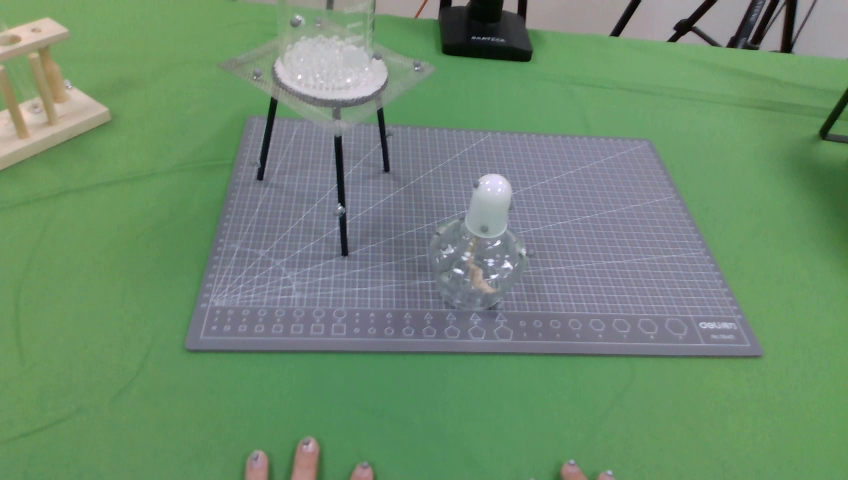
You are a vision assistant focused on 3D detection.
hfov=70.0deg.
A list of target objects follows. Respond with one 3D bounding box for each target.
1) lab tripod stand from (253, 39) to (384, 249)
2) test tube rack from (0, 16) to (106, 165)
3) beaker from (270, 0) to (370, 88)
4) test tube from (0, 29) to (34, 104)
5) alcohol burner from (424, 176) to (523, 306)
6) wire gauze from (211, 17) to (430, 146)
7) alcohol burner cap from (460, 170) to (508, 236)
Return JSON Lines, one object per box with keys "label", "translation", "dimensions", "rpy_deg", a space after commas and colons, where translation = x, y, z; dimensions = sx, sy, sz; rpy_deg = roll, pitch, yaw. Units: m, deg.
{"label": "lab tripod stand", "translation": [-0.082, -0.087, 0.515], "dimensions": [0.148, 0.132, 0.147], "rpy_deg": [6, 45, -6]}
{"label": "test tube rack", "translation": [-0.411, -0.104, 0.517], "dimensions": [0.066, 0.086, 0.242], "rpy_deg": [30, 48, 20]}
{"label": "beaker", "translation": [-0.076, -0.168, 0.434], "dimensions": [0.073, 0.101, 0.084], "rpy_deg": [32, 50, 20]}
{"label": "test tube", "translation": [-0.381, -0.184, 0.532], "dimensions": [0.017, 0.151, 0.017], "rpy_deg": [2, 48, -2]}
{"label": "alcohol burner", "translation": [0.041, -0.004, 0.467], "dimensions": [0.078, 0.120, 0.077], "rpy_deg": [6, 44, -5]}
{"label": "wire gauze", "translation": [-0.077, -0.133, 0.469], "dimensions": [0.124, 0.011, 0.121], "rpy_deg": [33, 52, 17]}
{"label": "alcohol burner cap", "translation": [0.045, -0.029, 0.440], "dimensions": [0.034, 0.048, 0.033], "rpy_deg": [3, 49, -3]}
